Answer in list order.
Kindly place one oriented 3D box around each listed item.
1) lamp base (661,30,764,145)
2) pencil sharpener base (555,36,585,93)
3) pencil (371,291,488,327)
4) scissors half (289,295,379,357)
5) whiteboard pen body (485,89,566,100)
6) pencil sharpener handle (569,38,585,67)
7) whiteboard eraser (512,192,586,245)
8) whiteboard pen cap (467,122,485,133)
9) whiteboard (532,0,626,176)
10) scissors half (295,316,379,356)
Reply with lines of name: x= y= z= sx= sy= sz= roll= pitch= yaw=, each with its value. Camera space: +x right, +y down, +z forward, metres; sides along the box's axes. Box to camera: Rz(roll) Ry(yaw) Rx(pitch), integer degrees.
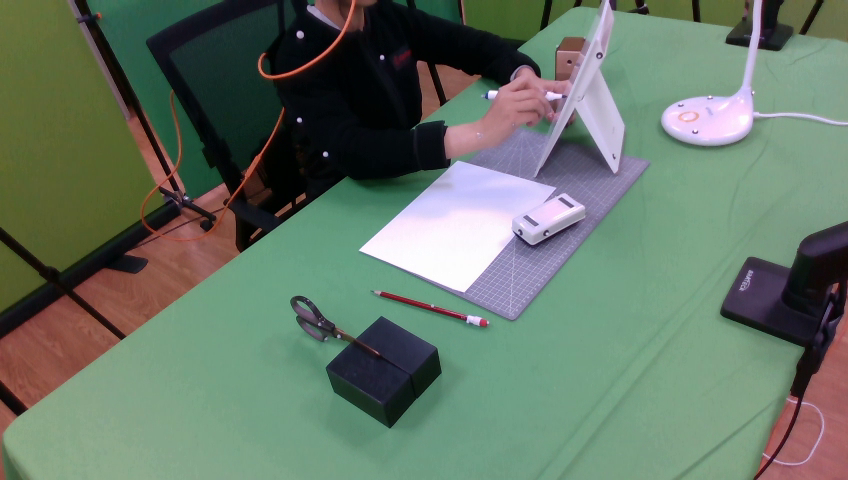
lamp base: x=0.535 y=-0.287 z=1.096 sx=0.179 sy=0.181 sz=0.159 roll=-10 pitch=40 yaw=-4
pencil sharpener base: x=0.317 y=-0.371 z=1.290 sx=0.061 sy=0.107 sz=0.076 roll=10 pitch=44 yaw=22
pencil: x=0.003 y=0.097 z=0.877 sx=0.193 sy=0.012 sz=0.012 roll=13 pitch=45 yaw=26
scissors half: x=-0.122 y=0.114 z=0.803 sx=0.174 sy=0.040 sz=0.013 roll=26 pitch=50 yaw=32
whiteboard pen body: x=0.174 y=-0.249 z=1.039 sx=0.140 sy=0.017 sz=0.017 roll=6 pitch=42 yaw=19
pencil sharpener handle: x=0.333 y=-0.413 z=1.318 sx=0.036 sy=0.068 sz=0.030 roll=19 pitch=46 yaw=13
whiteboard eraser: x=0.199 y=-0.032 z=0.962 sx=0.113 sy=0.042 sz=0.055 roll=-27 pitch=42 yaw=-20
whiteboard pen cap: x=0.106 y=-0.229 z=1.234 sx=0.033 sy=0.018 sz=0.018 roll=-18 pitch=41 yaw=-6
whiteboard: x=0.321 y=-0.258 z=1.050 sx=0.144 sy=0.306 sz=0.217 roll=22 pitch=45 yaw=5
scissors half: x=-0.119 y=0.131 z=0.813 sx=0.173 sy=0.040 sz=0.013 roll=9 pitch=34 yaw=45
